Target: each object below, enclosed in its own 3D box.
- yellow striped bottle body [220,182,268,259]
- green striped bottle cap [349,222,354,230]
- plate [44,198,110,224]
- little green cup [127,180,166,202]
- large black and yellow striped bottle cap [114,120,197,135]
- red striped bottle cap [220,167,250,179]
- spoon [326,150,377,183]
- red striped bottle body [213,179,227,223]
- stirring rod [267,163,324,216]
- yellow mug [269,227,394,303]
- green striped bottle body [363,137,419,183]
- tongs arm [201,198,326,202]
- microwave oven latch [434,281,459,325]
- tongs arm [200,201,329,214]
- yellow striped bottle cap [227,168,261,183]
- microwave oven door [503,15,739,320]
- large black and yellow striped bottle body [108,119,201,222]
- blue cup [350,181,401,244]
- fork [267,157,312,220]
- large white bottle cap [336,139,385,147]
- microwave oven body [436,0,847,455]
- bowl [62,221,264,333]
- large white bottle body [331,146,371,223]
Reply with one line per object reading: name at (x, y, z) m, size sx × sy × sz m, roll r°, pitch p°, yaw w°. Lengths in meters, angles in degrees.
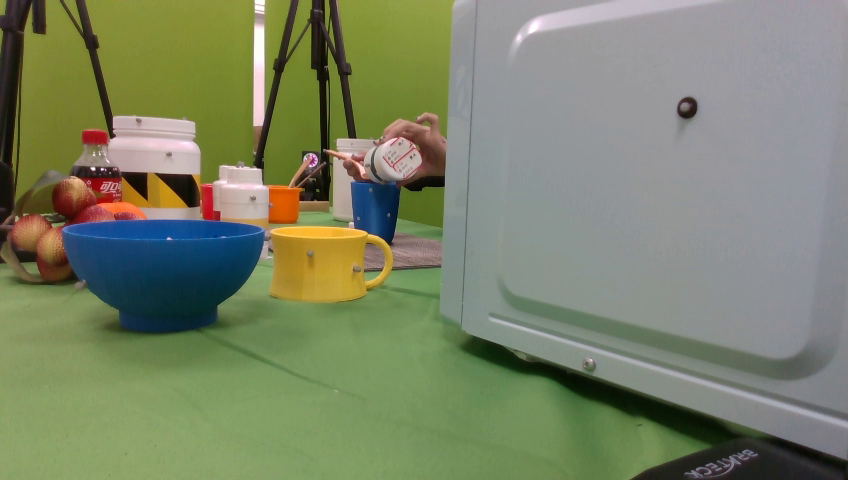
yellow striped bottle body at (-0.246, -0.036, 0.825) m, size 0.063 × 0.120 × 0.063 m, roll 3°, pitch 8°, yaw 0°
green striped bottle cap at (-0.122, -0.024, 1.155) m, size 0.044 × 0.020 × 0.044 m, roll -1°, pitch 9°, yaw 0°
plate at (-0.617, -0.056, 1.179) m, size 0.209 × 0.038 × 0.209 m, roll 3°, pitch 7°, yaw 0°
little green cup at (-0.486, -0.086, 1.061) m, size 0.061 × 0.038 × 0.061 m, roll 1°, pitch 7°, yaw 0°
large black and yellow striped bottle cap at (-0.407, -0.171, 0.920) m, size 0.115 × 0.019 × 0.115 m, roll 2°, pitch 9°, yaw 0°
red striped bottle cap at (-0.281, -0.100, 0.901) m, size 0.044 × 0.017 × 0.044 m, roll -1°, pitch 5°, yaw 0°
spoon at (-0.122, -0.131, 1.054) m, size 0.042 × 0.021 × 0.192 m, roll -7°, pitch 29°, yaw -35°
red striped bottle body at (-0.284, -0.048, 0.910) m, size 0.063 × 0.119 × 0.063 m, roll 3°, pitch 12°, yaw 0°
stirring rod at (-0.278, -0.105, 1.294) m, size 0.176 × 0.006 × 0.014 m, roll -47°, pitch 26°, yaw -18°
yellow mug at (-0.094, 0.023, 0.629) m, size 0.131 × 0.064 × 0.099 m, roll 0°, pitch 6°, yaw -22°
green striped bottle body at (-0.056, -0.120, 0.933) m, size 0.063 × 0.063 × 0.119 m, roll 0°, pitch 2°, yaw -21°
tongs arm at (-0.433, -0.090, 1.508) m, size 0.390 × 0.028 × 0.028 m, roll -1°, pitch 2°, yaw -29°
microwave oven latch at (0.044, 0.045, 0.470) m, size 0.079 × 0.029 × 0.030 m, roll -2°, pitch 8°, yaw -39°
tongs arm at (-0.378, -0.079, 1.440) m, size 0.387 × 0.026 × 0.050 m, roll -4°, pitch 7°, yaw -44°
yellow striped bottle cap at (-0.243, -0.087, 0.818) m, size 0.044 × 0.018 × 0.044 m, roll 3°, pitch 6°, yaw 0°
microwave oven door at (0.218, -0.065, 0.600) m, size 0.358 × 0.243 × 0.039 m, roll -4°, pitch 10°, yaw -41°
large black and yellow striped bottle body at (-0.412, -0.088, 0.930) m, size 0.131 × 0.184 × 0.130 m, roll 3°, pitch 7°, yaw 0°
blue cup at (-0.082, -0.046, 1.010) m, size 0.093 × 0.100 × 0.092 m, roll 1°, pitch 7°, yaw 0°
fork at (-0.289, -0.116, 1.321) m, size 0.028 × 0.019 × 0.207 m, roll 6°, pitch 51°, yaw 19°
large white bottle cap at (-0.143, -0.219, 1.375) m, size 0.115 × 0.018 × 0.115 m, roll 2°, pitch 8°, yaw 0°
microwave oven body at (0.279, -0.040, 0.465) m, size 0.444 × 0.260 × 0.324 m, roll -3°, pitch 9°, yaw -41°
bowl at (-0.208, 0.029, 0.496) m, size 0.151 × 0.077 × 0.151 m, roll 2°, pitch 7°, yaw 0°
large white bottle body at (-0.146, -0.136, 1.388) m, size 0.131 × 0.184 × 0.130 m, roll 2°, pitch 8°, yaw 0°
